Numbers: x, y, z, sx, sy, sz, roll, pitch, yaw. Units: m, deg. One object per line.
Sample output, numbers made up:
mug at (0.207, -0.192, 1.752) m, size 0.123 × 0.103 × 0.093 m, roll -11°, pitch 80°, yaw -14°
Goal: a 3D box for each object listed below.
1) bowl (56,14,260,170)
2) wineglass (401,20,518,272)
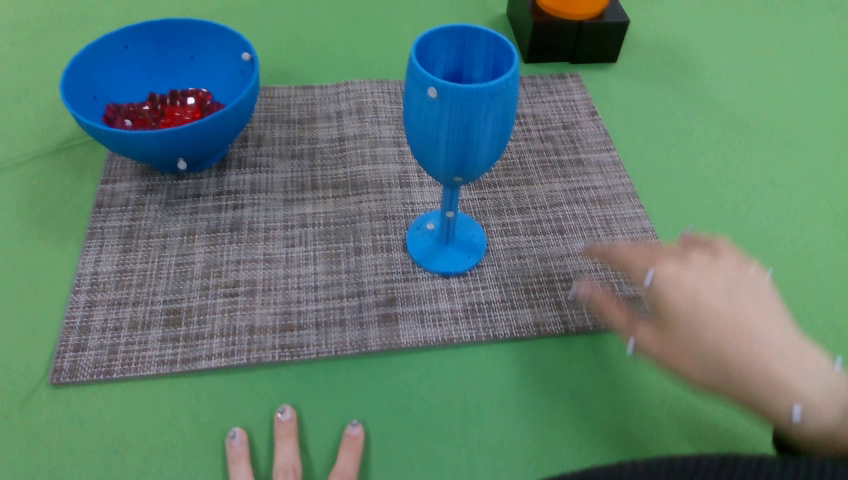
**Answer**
bowl at (-0.208, -0.112, 0.505) m, size 0.151 × 0.077 × 0.150 m, roll 2°, pitch 52°, yaw -2°
wineglass at (0.019, -0.055, 0.413) m, size 0.074 × 0.173 × 0.073 m, roll 2°, pitch 51°, yaw -2°
